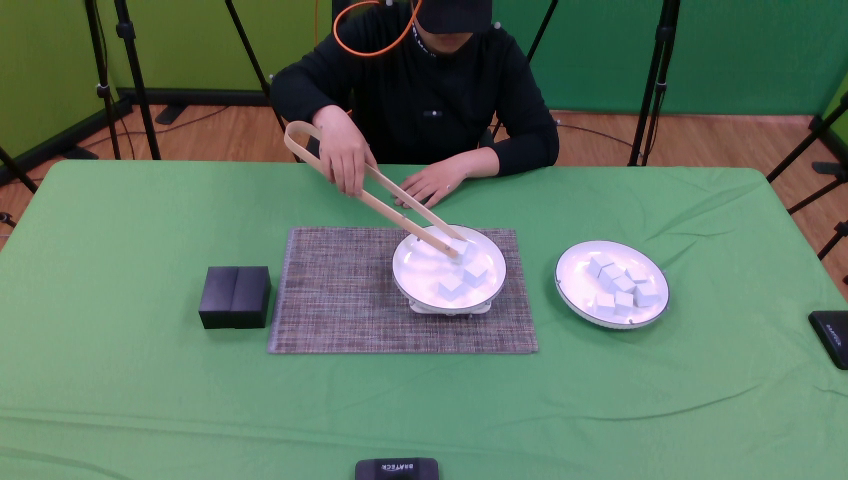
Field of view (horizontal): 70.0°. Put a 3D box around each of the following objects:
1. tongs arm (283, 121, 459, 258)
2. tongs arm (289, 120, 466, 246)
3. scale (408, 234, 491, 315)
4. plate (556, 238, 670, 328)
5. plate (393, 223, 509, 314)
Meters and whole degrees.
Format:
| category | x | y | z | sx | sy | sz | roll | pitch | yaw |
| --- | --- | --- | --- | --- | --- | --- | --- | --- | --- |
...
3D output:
| category | x | y | z | sx | sy | sz | roll | pitch | yaw |
| --- | --- | --- | --- | --- | --- | --- | --- | --- | --- |
| tongs arm | -0.096 | -0.091 | 1.096 | 0.385 | 0.026 | 0.050 | 32 | 53 | -1 |
| tongs arm | -0.084 | -0.106 | 1.111 | 0.387 | 0.028 | 0.028 | 35 | 57 | 2 |
| scale | 0.045 | 0.055 | 1.135 | 0.149 | 0.032 | 0.199 | 1 | 46 | -3 |
| plate | 0.347 | 0.083 | 1.130 | 0.209 | 0.038 | 0.208 | 2 | 47 | -2 |
| plate | 0.048 | 0.053 | 1.091 | 0.208 | 0.039 | 0.206 | 1 | 46 | -1 |
